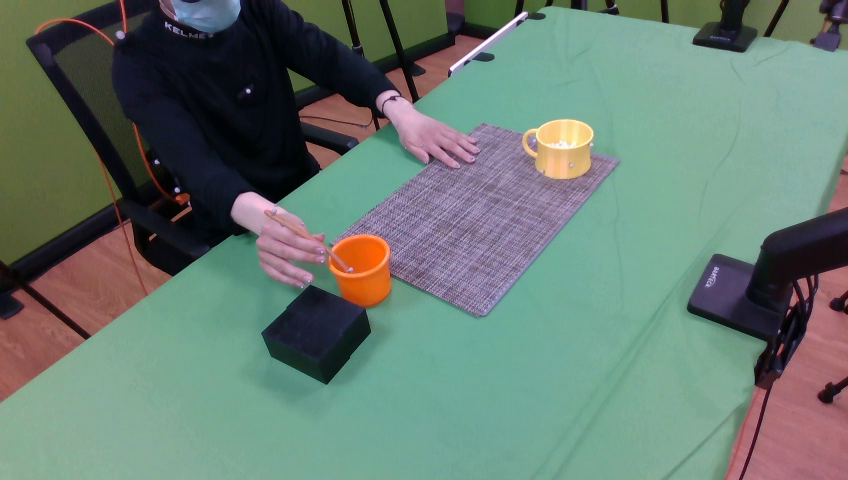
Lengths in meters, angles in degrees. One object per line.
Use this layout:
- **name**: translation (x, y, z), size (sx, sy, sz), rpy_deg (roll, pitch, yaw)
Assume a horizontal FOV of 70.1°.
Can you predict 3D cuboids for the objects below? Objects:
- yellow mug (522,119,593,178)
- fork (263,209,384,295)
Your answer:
- **yellow mug**: translation (0.238, -0.170, 1.092), size (0.130, 0.064, 0.100), rpy_deg (17, 47, 27)
- **fork**: translation (-0.139, 0.019, 0.853), size (0.018, 0.208, 0.028), rpy_deg (-41, 23, 21)
